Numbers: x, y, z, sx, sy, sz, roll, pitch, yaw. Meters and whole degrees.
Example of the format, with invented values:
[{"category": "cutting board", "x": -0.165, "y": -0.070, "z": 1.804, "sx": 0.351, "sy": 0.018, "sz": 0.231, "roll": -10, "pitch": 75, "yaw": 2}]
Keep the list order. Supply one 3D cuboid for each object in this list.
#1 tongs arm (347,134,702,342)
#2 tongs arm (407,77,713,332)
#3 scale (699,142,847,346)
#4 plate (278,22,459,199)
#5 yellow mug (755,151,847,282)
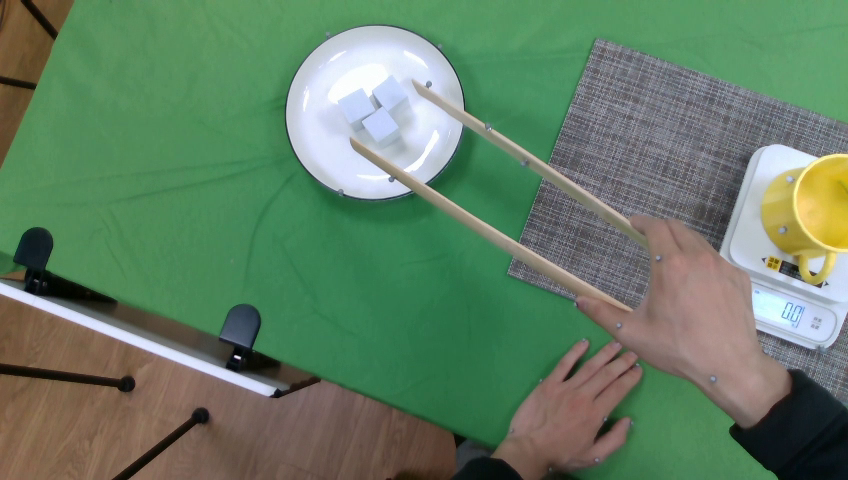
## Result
[{"category": "tongs arm", "x": 0.064, "y": -0.014, "z": 0.556, "sx": 0.384, "sy": 0.028, "sz": 0.028, "roll": 33, "pitch": 70, "yaw": 28}, {"category": "tongs arm", "x": 0.101, "y": -0.052, "z": 0.566, "sx": 0.050, "sy": 0.027, "sz": 0.381, "roll": -45, "pitch": 60, "yaw": -12}, {"category": "scale", "x": 0.405, "y": 0.003, "z": 0.669, "sx": 0.148, "sy": 0.031, "sz": 0.200, "roll": 21, "pitch": 86, "yaw": 5}, {"category": "plate", "x": -0.063, "y": -0.147, "z": 0.706, "sx": 0.207, "sy": 0.039, "sz": 0.207, "roll": 0, "pitch": 84, "yaw": 2}, {"category": "yellow mug", "x": 0.406, "y": -0.020, "z": 0.625, "sx": 0.100, "sy": 0.064, "sz": 0.130, "roll": 11, "pitch": 86, "yaw": 3}]
